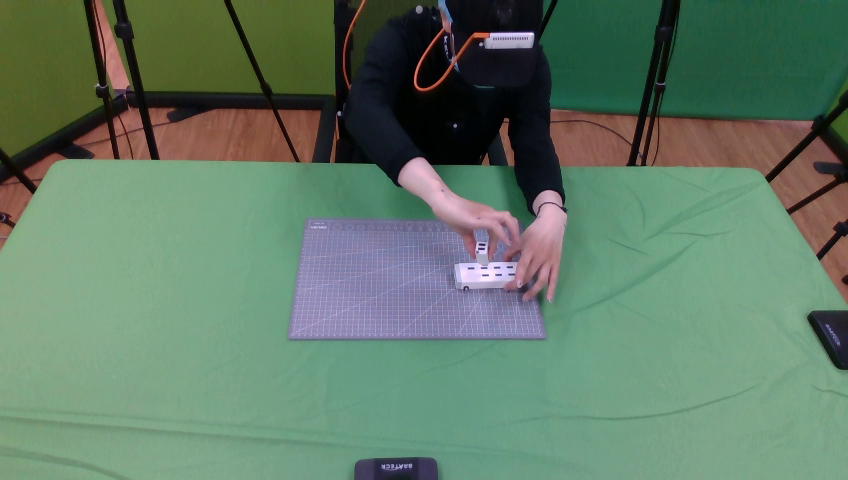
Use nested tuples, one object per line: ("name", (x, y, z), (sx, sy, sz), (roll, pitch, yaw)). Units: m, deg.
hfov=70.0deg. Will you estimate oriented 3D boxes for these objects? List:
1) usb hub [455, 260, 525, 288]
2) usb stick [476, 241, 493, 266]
("usb hub", (0.122, 0.064, 1.134), (0.125, 0.025, 0.049), (-2, 47, -5))
("usb stick", (0.111, 0.026, 1.093), (0.021, 0.059, 0.027), (2, 59, 19))
